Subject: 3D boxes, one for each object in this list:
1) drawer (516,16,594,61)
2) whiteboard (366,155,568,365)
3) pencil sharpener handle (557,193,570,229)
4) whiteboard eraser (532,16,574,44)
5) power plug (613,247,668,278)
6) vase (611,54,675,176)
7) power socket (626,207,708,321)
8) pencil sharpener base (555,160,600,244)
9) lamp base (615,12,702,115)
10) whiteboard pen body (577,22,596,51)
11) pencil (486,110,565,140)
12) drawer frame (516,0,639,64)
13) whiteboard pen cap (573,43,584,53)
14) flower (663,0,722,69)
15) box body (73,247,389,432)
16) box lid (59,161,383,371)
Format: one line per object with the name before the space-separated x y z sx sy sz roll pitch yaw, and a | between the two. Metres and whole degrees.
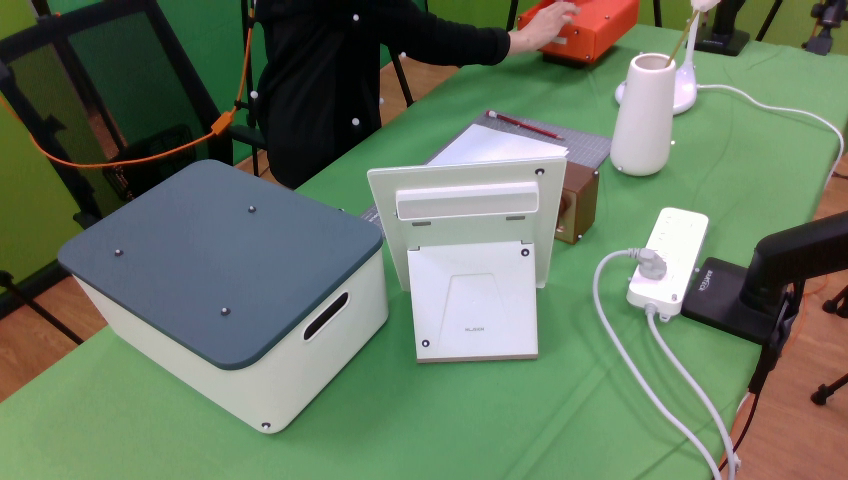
drawer | 0.352 -0.505 1.403 0.193 0.073 0.212 25 50 33
whiteboard | 0.059 0.049 0.738 0.217 0.307 0.143 -3 60 5
pencil sharpener handle | 0.195 -0.038 0.908 0.035 0.068 0.031 24 50 30
whiteboard eraser | 0.305 -0.493 1.423 0.055 0.042 0.113 26 43 25
power plug | 0.306 0.032 0.851 0.072 0.053 0.035 24 49 34
vase | 0.377 -0.209 1.031 0.098 0.201 0.097 -3 40 3
power socket | 0.359 0.025 0.886 0.072 0.033 0.227 16 46 26
pencil sharpener base | 0.228 -0.057 0.945 0.061 0.107 0.077 24 50 31
lamp base | 0.484 -0.363 1.211 0.180 0.181 0.159 -15 41 -14
whiteboard pen body | 0.372 -0.468 1.389 0.017 0.017 0.141 14 47 23
pencil | 0.204 -0.233 1.226 0.192 0.012 0.012 29 52 33
drawer frame | 0.355 -0.507 1.409 0.200 0.083 0.214 25 52 32
whiteboard pen cap | 0.345 -0.430 1.350 0.018 0.018 0.033 15 36 24
flower | 0.379 -0.261 0.965 0.044 0.362 0.038 21 53 5
box body | -0.255 0.065 0.827 0.361 0.161 0.255 21 48 29
box lid | -0.262 0.010 0.777 0.369 0.015 0.264 21 48 29
